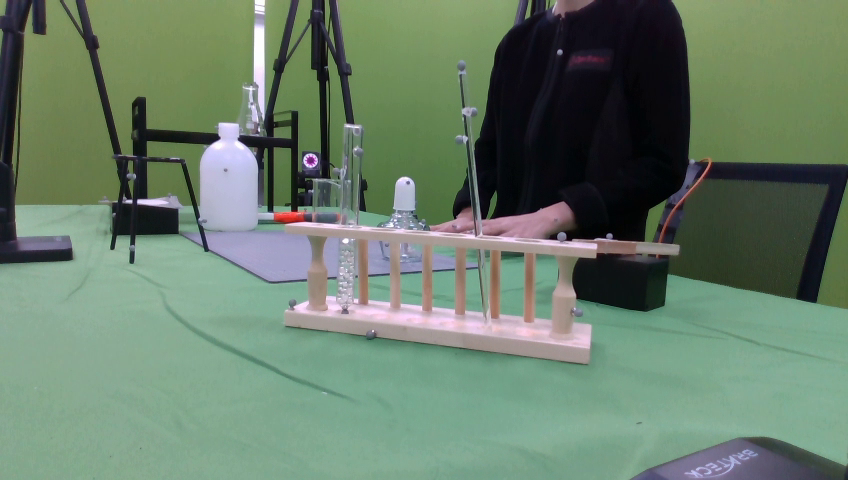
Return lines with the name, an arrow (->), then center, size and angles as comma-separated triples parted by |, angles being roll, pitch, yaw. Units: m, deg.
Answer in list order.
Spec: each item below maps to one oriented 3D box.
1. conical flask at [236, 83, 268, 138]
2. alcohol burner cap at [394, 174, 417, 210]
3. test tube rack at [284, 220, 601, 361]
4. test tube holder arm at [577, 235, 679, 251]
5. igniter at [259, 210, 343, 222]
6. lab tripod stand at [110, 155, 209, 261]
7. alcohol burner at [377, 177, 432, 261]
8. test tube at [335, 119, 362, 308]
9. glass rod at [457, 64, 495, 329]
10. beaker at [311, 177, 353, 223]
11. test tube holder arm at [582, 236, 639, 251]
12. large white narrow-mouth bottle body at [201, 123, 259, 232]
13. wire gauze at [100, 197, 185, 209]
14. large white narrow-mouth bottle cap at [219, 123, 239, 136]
conical flask -> -0.400, -0.298, 1.396 | 0.075, 0.122, 0.075 | 2, 8, 0
alcohol burner cap -> -0.024, -0.067, 0.832 | 0.034, 0.048, 0.034 | 4, 12, -1
test tube rack -> 0.013, 0.032, 0.482 | 0.242, 0.085, 0.067 | 4, 7, 16
test tube holder arm -> 0.227, 0.004, 0.661 | 0.179, 0.015, 0.013 | 1, 13, -39
igniter -> -0.303, -0.049, 1.258 | 0.278, 0.025, 0.057 | -2, -2, -28
lab tripod stand -> -0.361, -0.046, 0.806 | 0.148, 0.131, 0.148 | 2, 5, 0
alcohol burner -> -0.027, -0.031, 0.838 | 0.078, 0.119, 0.078 | 0, 6, 0
test tube -> -0.060, -0.019, 0.475 | 0.017, 0.150, 0.017 | 4, 11, 0
glass rod -> 0.040, -0.029, 0.449 | 0.008, 0.199, 0.008 | -7, 9, 1
beaker -> -0.167, -0.064, 1.106 | 0.074, 0.100, 0.083 | -2, 9, -27
test tube holder arm -> 0.194, 0.004, 0.629 | 0.088, 0.015, 0.010 | 2, 13, -38
large white narrow-mouth bottle body -> -0.358, -0.116, 1.116 | 0.102, 0.194, 0.102 | 2, 8, 0
wire gauze -> -0.469, -0.062, 1.008 | 0.126, 0.011, 0.121 | -2, 8, -25
large white narrow-mouth bottle cap -> -0.356, -0.201, 1.104 | 0.038, 0.024, 0.037 | 2, 8, 0
